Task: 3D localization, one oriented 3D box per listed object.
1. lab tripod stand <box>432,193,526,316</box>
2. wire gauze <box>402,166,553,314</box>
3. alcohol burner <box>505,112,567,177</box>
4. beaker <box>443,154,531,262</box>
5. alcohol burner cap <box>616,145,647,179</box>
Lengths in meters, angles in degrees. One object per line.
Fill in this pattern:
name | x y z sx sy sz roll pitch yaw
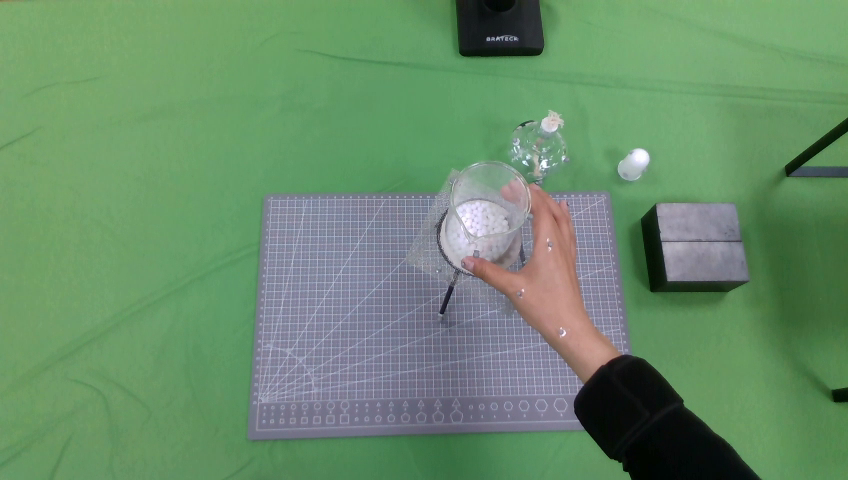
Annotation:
lab tripod stand | 0.056 0.011 0.693 0.148 0.132 0.147 1 70 -3
wire gauze | 0.057 -0.004 0.629 0.125 0.011 0.121 27 73 4
alcohol burner | 0.144 -0.127 0.756 0.078 0.119 0.077 1 71 -4
beaker | 0.055 -0.023 0.584 0.074 0.101 0.083 23 72 5
alcohol burner cap | 0.274 -0.104 0.793 0.034 0.048 0.033 0 70 -1
